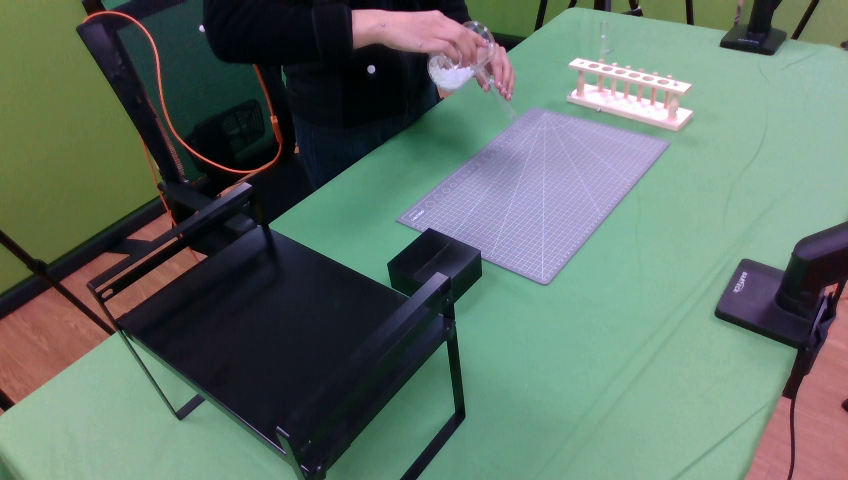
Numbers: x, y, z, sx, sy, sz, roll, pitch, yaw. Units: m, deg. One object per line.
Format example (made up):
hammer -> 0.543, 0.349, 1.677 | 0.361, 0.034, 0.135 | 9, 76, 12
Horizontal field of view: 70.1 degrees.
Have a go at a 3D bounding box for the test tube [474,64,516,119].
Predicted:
test tube -> 0.130, -0.262, 1.079 | 0.017, 0.151, 0.017 | -15, 58, 27

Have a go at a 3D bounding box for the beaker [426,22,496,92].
beaker -> 0.058, -0.290, 0.972 | 0.073, 0.084, 0.100 | 25, 56, 29

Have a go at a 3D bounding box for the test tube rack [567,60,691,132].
test tube rack -> 0.411, -0.300, 1.217 | 0.240, 0.085, 0.067 | 26, 51, 33

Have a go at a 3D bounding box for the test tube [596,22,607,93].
test tube -> 0.363, -0.372, 1.240 | 0.017, 0.151, 0.017 | -6, 40, 5
